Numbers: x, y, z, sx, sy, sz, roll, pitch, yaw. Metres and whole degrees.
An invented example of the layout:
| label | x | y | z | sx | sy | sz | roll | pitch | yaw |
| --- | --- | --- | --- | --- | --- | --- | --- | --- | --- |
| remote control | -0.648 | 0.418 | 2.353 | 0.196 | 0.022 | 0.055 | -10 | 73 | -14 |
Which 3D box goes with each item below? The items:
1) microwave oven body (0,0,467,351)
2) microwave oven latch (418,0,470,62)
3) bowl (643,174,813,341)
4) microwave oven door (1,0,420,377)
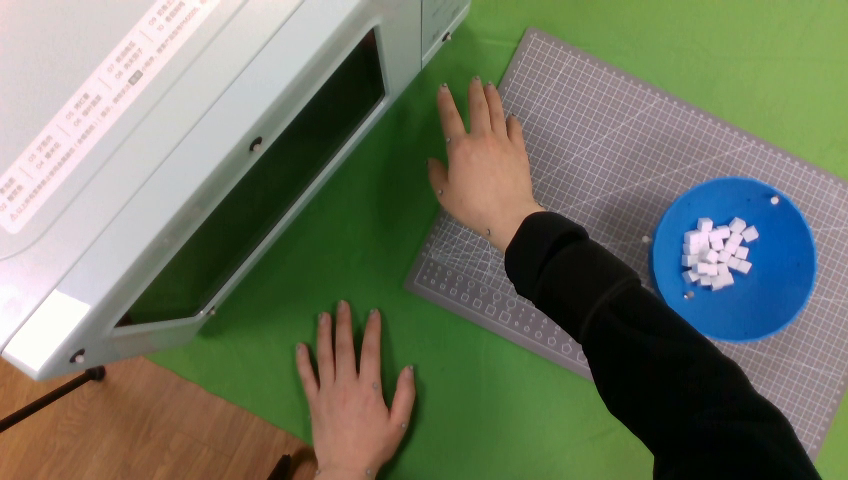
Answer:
| label | x | y | z | sx | sy | sz | roll | pitch | yaw |
| --- | --- | --- | --- | --- | --- | --- | --- | --- | --- |
| microwave oven body | -0.214 | -0.180 | 0.489 | 0.326 | 0.260 | 0.441 | 40 | 88 | 1 |
| microwave oven latch | 0.012 | -0.214 | 0.592 | 0.030 | 0.029 | 0.079 | 42 | 88 | 1 |
| bowl | 0.275 | 0.018 | 0.581 | 0.151 | 0.077 | 0.151 | 0 | 87 | -1 |
| microwave oven door | -0.130 | -0.054 | 0.479 | 0.039 | 0.244 | 0.355 | 40 | 87 | 2 |
